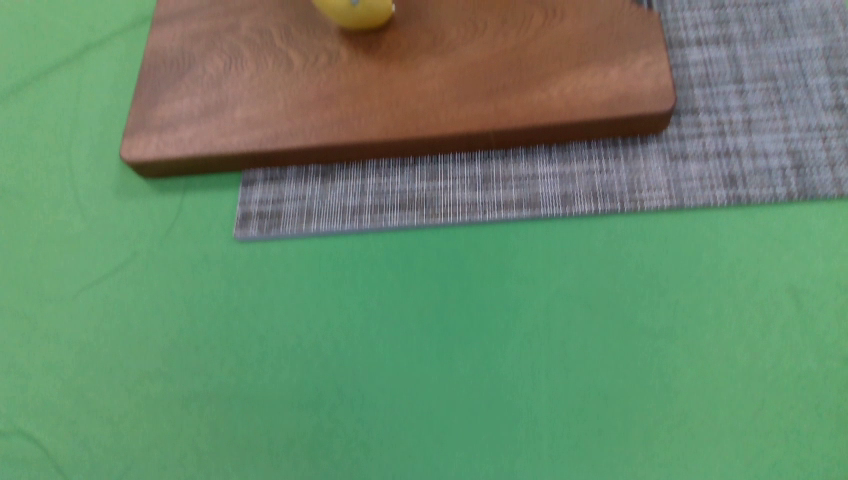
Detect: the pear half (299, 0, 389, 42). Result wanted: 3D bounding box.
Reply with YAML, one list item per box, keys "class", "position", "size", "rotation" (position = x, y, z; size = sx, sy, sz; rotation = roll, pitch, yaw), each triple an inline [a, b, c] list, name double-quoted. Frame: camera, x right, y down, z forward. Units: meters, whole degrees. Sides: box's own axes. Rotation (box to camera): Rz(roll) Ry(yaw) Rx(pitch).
- class: "pear half"
  position: [-0.067, -0.190, 0.429]
  size: [0.056, 0.111, 0.075]
  rotation: [-32, 60, -6]
